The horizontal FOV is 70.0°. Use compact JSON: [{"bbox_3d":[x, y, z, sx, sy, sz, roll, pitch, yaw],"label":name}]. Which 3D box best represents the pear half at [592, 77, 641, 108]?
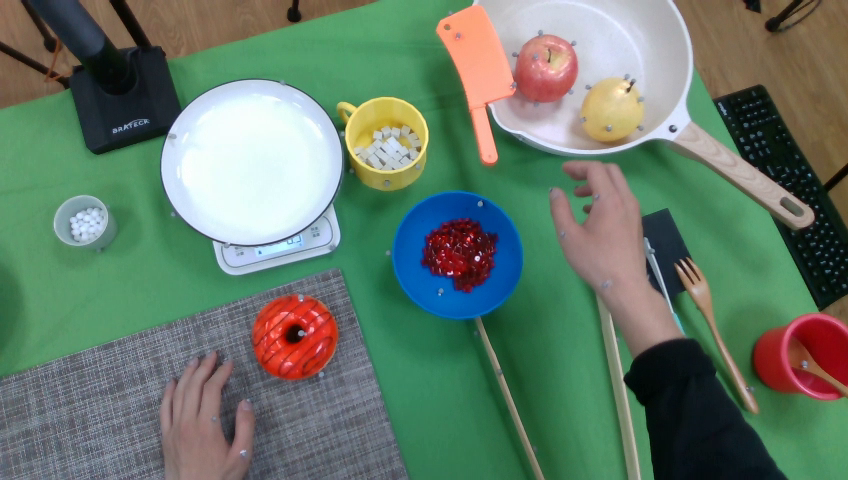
[{"bbox_3d":[0.243,-0.190,0.774,0.070,0.088,0.031,11,75,5],"label":"pear half"}]

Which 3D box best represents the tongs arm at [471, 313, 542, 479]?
[{"bbox_3d":[0.143,0.255,0.692,0.051,0.026,0.383,-18,80,-11],"label":"tongs arm"}]

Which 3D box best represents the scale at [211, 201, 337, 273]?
[{"bbox_3d":[-0.200,-0.070,0.747,0.149,0.031,0.200,-14,78,-7],"label":"scale"}]

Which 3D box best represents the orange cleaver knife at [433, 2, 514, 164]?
[{"bbox_3d":[0.069,-0.196,0.742,0.077,0.012,0.210,-14,78,-5],"label":"orange cleaver knife"}]

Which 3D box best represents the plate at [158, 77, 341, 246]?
[{"bbox_3d":[-0.202,-0.092,0.719,0.209,0.038,0.208,1,76,-4],"label":"plate"}]

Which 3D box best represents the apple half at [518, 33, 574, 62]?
[{"bbox_3d":[0.160,-0.244,0.789,0.081,0.081,0.032,21,79,2],"label":"apple half"}]

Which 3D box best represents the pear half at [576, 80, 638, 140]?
[{"bbox_3d":[0.230,-0.162,0.757,0.076,0.110,0.055,16,76,4],"label":"pear half"}]

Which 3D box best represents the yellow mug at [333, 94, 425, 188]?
[{"bbox_3d":[-0.062,-0.131,0.754,0.130,0.064,0.100,37,77,6],"label":"yellow mug"}]

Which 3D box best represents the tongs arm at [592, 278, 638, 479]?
[{"bbox_3d":[0.226,0.236,0.705,0.028,0.028,0.385,-3,78,-11],"label":"tongs arm"}]

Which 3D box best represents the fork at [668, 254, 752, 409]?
[{"bbox_3d":[0.346,0.111,0.727,0.028,0.018,0.207,-28,95,-12],"label":"fork"}]

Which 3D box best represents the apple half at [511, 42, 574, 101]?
[{"bbox_3d":[0.147,-0.209,0.780,0.081,0.075,0.053,22,79,-1],"label":"apple half"}]

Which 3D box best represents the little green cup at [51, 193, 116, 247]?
[{"bbox_3d":[-0.400,-0.021,0.717,0.061,0.039,0.061,1,76,-3],"label":"little green cup"}]

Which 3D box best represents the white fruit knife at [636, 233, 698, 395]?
[{"bbox_3d":[0.287,0.090,0.720,0.016,0.027,0.207,-20,93,-7],"label":"white fruit knife"}]

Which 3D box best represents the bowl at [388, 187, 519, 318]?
[{"bbox_3d":[0.031,0.021,0.719,0.151,0.077,0.150,1,77,-4],"label":"bowl"}]

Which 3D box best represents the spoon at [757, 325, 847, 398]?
[{"bbox_3d":[0.458,0.161,0.682,0.041,0.022,0.191,-23,35,-10],"label":"spoon"}]

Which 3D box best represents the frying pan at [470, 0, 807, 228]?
[{"bbox_3d":[0.266,-0.174,0.769,0.485,0.103,0.306,42,78,14],"label":"frying pan"}]

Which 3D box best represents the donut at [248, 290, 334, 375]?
[{"bbox_3d":[-0.153,0.106,0.698,0.099,0.048,0.098,1,78,-2],"label":"donut"}]
